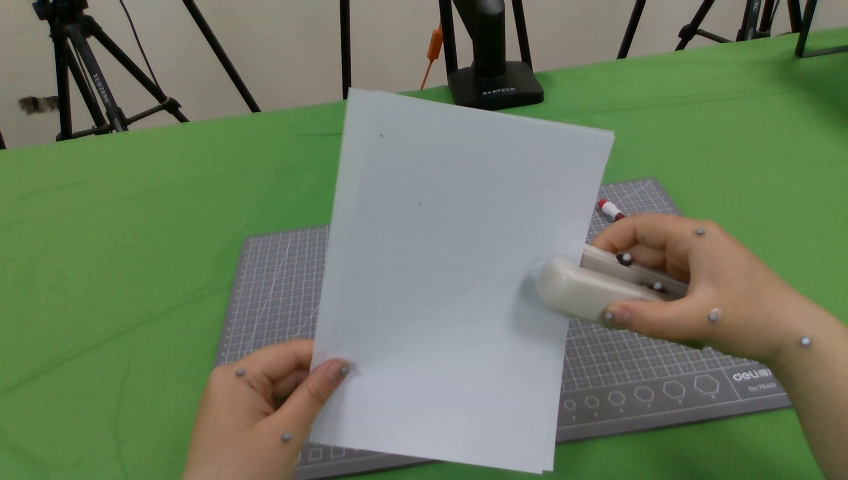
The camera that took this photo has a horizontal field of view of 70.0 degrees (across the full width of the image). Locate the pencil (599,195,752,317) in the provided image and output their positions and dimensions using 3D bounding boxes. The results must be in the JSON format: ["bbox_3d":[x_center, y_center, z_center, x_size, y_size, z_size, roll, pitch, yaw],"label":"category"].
[{"bbox_3d":[0.223,0.009,0.555,0.012,0.012,0.192,-21,41,-15],"label":"pencil"}]

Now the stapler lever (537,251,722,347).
[{"bbox_3d":[0.125,0.037,0.363,0.118,0.027,0.040,20,18,-4],"label":"stapler lever"}]

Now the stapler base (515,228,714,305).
[{"bbox_3d":[0.123,0.032,0.383,0.131,0.041,0.024,19,18,-9],"label":"stapler base"}]
